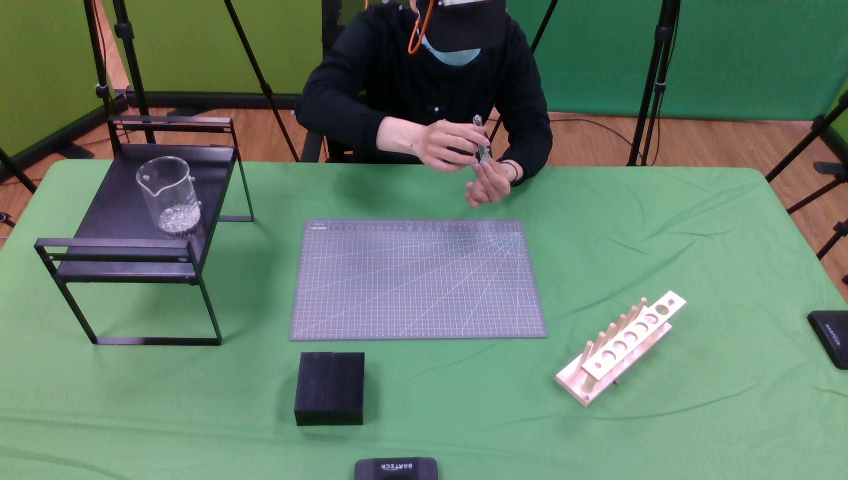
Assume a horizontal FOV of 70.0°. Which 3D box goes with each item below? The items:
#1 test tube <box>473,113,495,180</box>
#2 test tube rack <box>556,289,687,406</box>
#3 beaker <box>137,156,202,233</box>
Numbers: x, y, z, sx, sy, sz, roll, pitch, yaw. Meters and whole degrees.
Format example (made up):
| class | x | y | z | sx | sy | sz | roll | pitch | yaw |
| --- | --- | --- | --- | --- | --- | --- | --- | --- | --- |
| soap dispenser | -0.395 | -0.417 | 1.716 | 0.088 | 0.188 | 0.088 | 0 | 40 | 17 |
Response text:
| class | x | y | z | sx | sy | sz | roll | pitch | yaw |
| --- | --- | --- | --- | --- | --- | --- | --- | --- | --- |
| test tube | 0.109 | -0.164 | 1.083 | 0.017 | 0.151 | 0.017 | -9 | 48 | 11 |
| test tube rack | 0.332 | 0.166 | 1.014 | 0.242 | 0.085 | 0.066 | -30 | 55 | -28 |
| beaker | -0.385 | -0.065 | 0.925 | 0.074 | 0.101 | 0.083 | 2 | 47 | -1 |
